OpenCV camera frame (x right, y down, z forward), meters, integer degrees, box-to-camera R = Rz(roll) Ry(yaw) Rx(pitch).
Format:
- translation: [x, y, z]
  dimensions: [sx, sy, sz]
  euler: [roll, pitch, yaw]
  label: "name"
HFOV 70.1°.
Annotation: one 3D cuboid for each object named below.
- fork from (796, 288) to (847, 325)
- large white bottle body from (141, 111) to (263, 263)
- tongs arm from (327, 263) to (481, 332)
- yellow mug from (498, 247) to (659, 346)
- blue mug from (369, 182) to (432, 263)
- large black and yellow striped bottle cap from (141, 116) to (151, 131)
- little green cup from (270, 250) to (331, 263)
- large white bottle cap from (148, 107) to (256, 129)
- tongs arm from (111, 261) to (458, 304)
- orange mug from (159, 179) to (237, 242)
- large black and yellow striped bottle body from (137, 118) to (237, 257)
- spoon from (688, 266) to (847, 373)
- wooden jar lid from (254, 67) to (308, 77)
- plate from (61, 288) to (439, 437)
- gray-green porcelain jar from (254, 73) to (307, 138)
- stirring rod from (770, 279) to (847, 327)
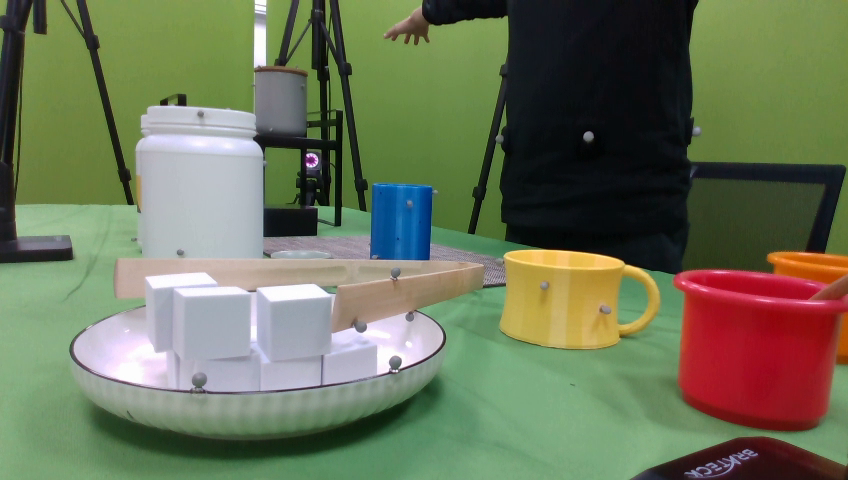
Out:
- translation: [0.324, 0.018, 0.441]
  dimensions: [0.028, 0.018, 0.207]
  euler: [-3, -36, -5]
  label: "fork"
- translation: [-0.254, -0.053, 0.697]
  dimensions: [0.131, 0.184, 0.130]
  euler: [2, 7, 0]
  label: "large white bottle body"
- translation: [-0.003, 0.036, 0.493]
  dimensions: [0.050, 0.026, 0.386]
  euler: [1, -1, 19]
  label: "tongs arm"
- translation: [0.130, 0.045, 0.509]
  dimensions: [0.131, 0.064, 0.100]
  euler: [4, 7, 6]
  label: "yellow mug"
- translation: [-0.027, -0.026, 0.835]
  dimensions: [0.082, 0.106, 0.117]
  euler: [5, 7, 19]
  label: "blue mug"
- translation: [-0.328, -0.158, 0.837]
  dimensions: [0.115, 0.019, 0.115]
  euler: [2, 6, 0]
  label: "large black and yellow striped bottle cap"
- translation: [-0.129, 0.033, 0.629]
  dimensions: [0.061, 0.038, 0.061]
  euler: [3, 7, 0]
  label: "little green cup"
- translation: [-0.250, -0.137, 0.686]
  dimensions: [0.115, 0.018, 0.115]
  euler: [2, 8, 0]
  label: "large white bottle cap"
- translation: [-0.080, 0.032, 0.527]
  dimensions: [0.028, 0.027, 0.389]
  euler: [-3, -3, 33]
  label: "tongs arm"
- translation: [-0.368, -0.051, 0.991]
  dimensions: [0.127, 0.101, 0.083]
  euler: [-10, 14, -41]
  label: "orange mug"
- translation: [-0.330, -0.075, 0.849]
  dimensions: [0.131, 0.184, 0.130]
  euler: [2, 8, 0]
  label: "large black and yellow striped bottle body"
- translation: [0.216, 0.032, 0.328]
  dimensions: [0.042, 0.021, 0.193]
  euler: [2, -37, -23]
  label: "spoon"
- translation: [-0.296, -0.339, 1.251]
  dimensions: [0.108, 0.020, 0.108]
  euler: [2, 7, 0]
  label: "wooden jar lid"
- translation: [-0.095, 0.069, 0.362]
  dimensions: [0.208, 0.039, 0.207]
  euler: [3, 7, 0]
  label: "plate"
- translation: [-0.298, -0.277, 1.259]
  dimensions: [0.106, 0.126, 0.106]
  euler: [3, 7, 0]
  label: "gray-green porcelain jar"
- translation: [0.349, 0.022, 0.468]
  dimensions: [0.014, 0.006, 0.175]
  euler: [-10, -28, -50]
  label: "stirring rod"
